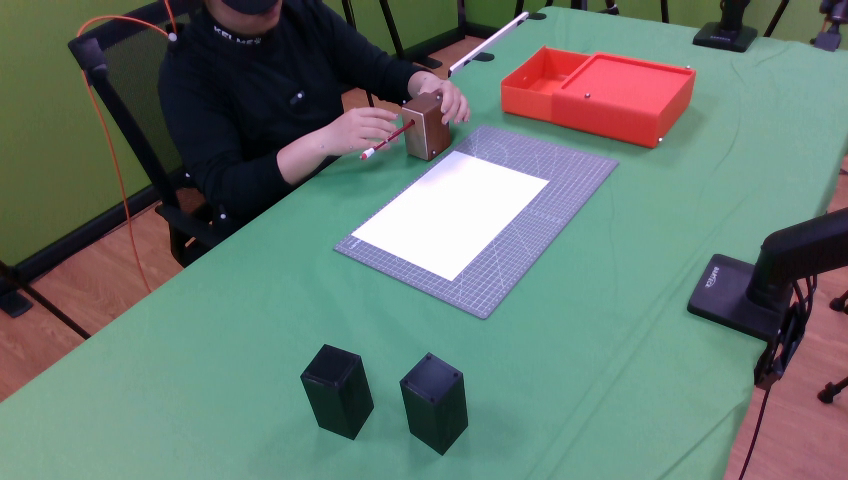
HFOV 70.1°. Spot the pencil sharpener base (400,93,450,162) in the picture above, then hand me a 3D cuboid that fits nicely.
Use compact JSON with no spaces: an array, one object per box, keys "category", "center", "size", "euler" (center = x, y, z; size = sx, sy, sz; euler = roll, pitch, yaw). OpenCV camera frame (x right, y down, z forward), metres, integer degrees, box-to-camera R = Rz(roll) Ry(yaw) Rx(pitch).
[{"category":"pencil sharpener base","center":[0.006,-0.216,1.159],"size":[0.061,0.107,0.077],"euler":[24,49,33]}]

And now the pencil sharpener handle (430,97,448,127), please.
[{"category":"pencil sharpener handle","center":[0.035,-0.254,1.181],"size":[0.035,0.068,0.031],"euler":[30,52,26]}]

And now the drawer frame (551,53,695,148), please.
[{"category":"drawer frame","center":[0.390,-0.281,1.196],"size":[0.212,0.083,0.202],"euler":[22,48,29]}]

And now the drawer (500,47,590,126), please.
[{"category":"drawer","center":[0.295,-0.316,1.255],"size":[0.210,0.073,0.195],"euler":[22,47,29]}]

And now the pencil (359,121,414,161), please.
[{"category":"pencil","center":[-0.049,-0.193,1.097],"size":[0.012,0.012,0.194],"euler":[24,50,32]}]
